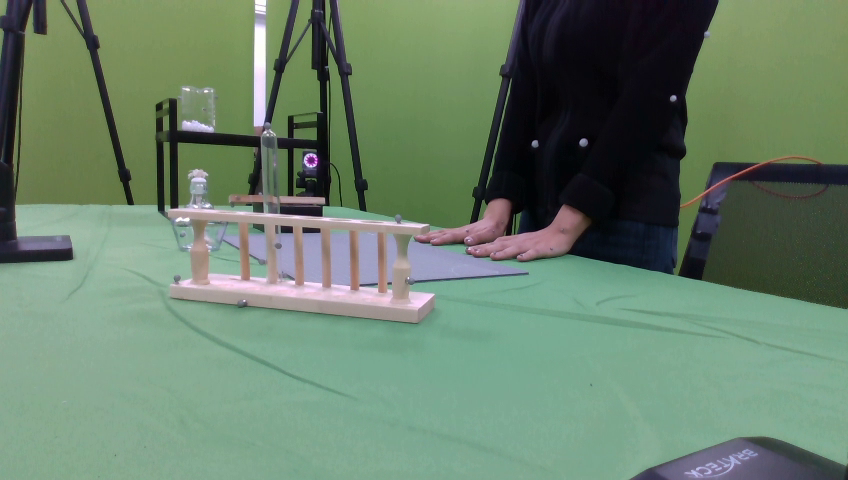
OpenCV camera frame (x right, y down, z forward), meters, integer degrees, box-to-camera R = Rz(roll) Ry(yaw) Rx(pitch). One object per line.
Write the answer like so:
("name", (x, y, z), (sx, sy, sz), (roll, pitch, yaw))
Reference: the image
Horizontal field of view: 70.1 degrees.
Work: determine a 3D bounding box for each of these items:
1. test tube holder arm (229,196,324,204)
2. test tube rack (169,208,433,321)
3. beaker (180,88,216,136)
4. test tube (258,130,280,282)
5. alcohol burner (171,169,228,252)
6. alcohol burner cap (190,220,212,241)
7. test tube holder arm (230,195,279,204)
("test tube holder arm", (-0.275, -0.076, 1.143), (0.179, 0.015, 0.013), (-1, 0, -32))
("test tube rack", (-0.115, 0.018, 0.574), (0.242, 0.085, 0.067), (4, 8, 14))
("beaker", (-0.498, -0.283, 1.339), (0.074, 0.100, 0.083), (-2, 9, -28))
("test tube", (-0.152, -0.032, 0.596), (0.017, 0.150, 0.017), (0, 9, 0))
("alcohol burner", (-0.325, -0.043, 0.875), (0.078, 0.119, 0.078), (0, 7, 0))
("alcohol burner cap", (-0.365, -0.023, 0.988), (0.034, 0.048, 0.034), (2, 7, 0))
("test tube holder arm", (-0.311, -0.075, 1.115), (0.088, 0.015, 0.010), (-1, 0, -31))
